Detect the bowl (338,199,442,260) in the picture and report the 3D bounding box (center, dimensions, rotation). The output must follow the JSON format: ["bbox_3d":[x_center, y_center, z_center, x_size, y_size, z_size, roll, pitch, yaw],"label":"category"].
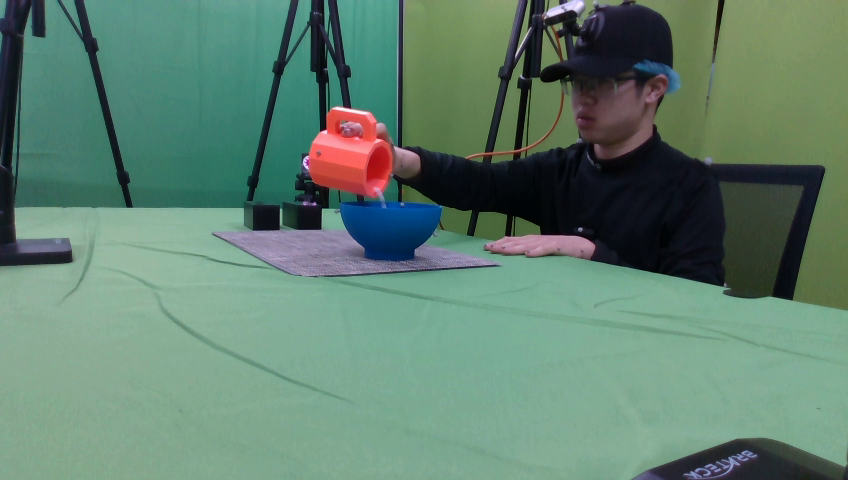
[{"bbox_3d":[-0.050,-0.015,0.878,0.151,0.077,0.151,2,8,0],"label":"bowl"}]

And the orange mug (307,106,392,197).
[{"bbox_3d":[-0.107,-0.131,0.893,0.100,0.126,0.084,18,29,20],"label":"orange mug"}]
